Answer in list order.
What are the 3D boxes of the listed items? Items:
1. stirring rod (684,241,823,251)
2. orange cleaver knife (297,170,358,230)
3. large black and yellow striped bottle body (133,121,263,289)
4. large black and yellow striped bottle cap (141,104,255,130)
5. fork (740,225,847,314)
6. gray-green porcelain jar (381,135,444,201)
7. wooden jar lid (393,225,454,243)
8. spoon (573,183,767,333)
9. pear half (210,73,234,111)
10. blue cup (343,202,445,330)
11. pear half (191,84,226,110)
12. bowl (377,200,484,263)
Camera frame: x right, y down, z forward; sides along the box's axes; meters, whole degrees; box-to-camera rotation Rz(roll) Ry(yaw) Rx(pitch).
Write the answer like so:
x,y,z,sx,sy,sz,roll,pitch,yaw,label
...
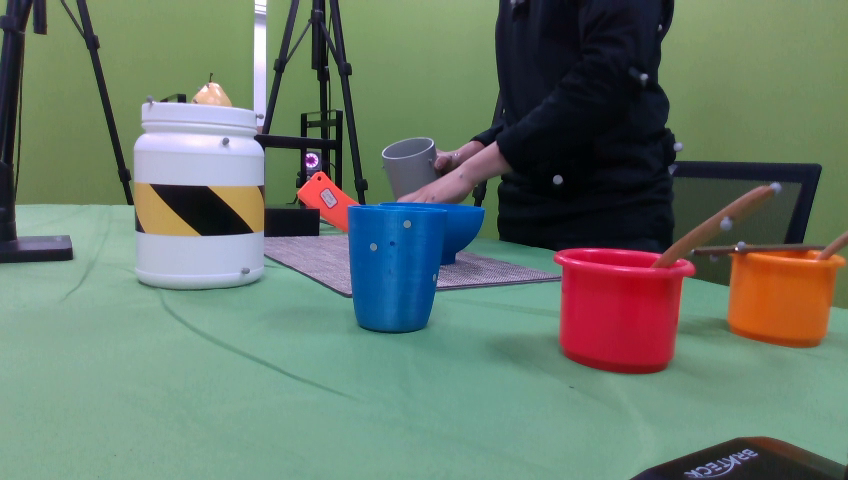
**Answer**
x,y,z,sx,sy,sz,roll,pitch,yaw,label
0.289,0.005,0.525,0.177,0.006,0.014,-1,5,-26,stirring rod
-0.149,-0.058,1.170,0.212,0.077,0.012,33,-15,-32,orange cleaver knife
-0.243,-0.048,0.659,0.131,0.184,0.130,2,7,0,large black and yellow striped bottle body
-0.241,-0.131,0.650,0.115,0.019,0.115,3,8,0,large black and yellow striped bottle cap
0.323,0.013,0.485,0.028,0.018,0.207,9,-38,-5,fork
-0.019,-0.128,1.192,0.106,0.126,0.105,-11,28,6,gray-green porcelain jar
-0.001,-0.011,1.058,0.108,0.020,0.108,6,6,0,wooden jar lid
0.158,0.020,0.412,0.042,0.021,0.193,-2,-35,-21,spoon
-0.402,-0.262,1.162,0.076,0.109,0.056,6,7,2,pear half
-0.027,0.021,0.510,0.093,0.100,0.092,3,5,0,blue cup
-0.406,-0.248,1.128,0.070,0.088,0.031,6,7,2,pear half
0.008,-0.012,0.842,0.151,0.077,0.151,2,7,0,bowl
